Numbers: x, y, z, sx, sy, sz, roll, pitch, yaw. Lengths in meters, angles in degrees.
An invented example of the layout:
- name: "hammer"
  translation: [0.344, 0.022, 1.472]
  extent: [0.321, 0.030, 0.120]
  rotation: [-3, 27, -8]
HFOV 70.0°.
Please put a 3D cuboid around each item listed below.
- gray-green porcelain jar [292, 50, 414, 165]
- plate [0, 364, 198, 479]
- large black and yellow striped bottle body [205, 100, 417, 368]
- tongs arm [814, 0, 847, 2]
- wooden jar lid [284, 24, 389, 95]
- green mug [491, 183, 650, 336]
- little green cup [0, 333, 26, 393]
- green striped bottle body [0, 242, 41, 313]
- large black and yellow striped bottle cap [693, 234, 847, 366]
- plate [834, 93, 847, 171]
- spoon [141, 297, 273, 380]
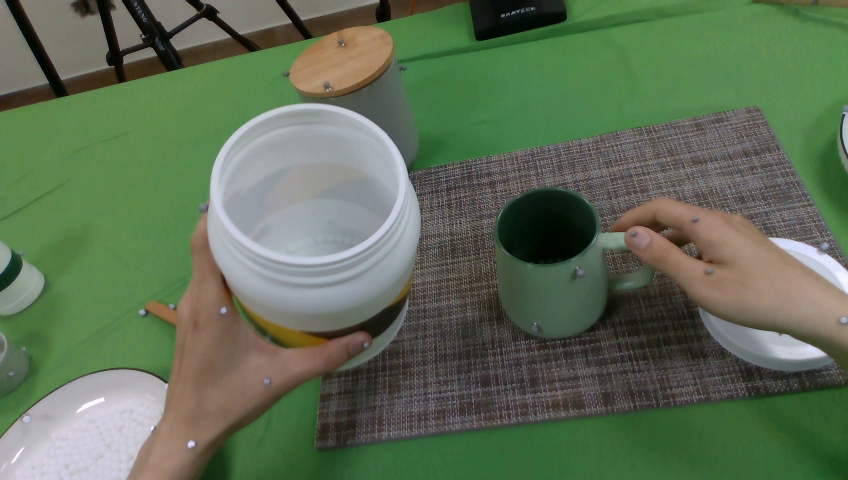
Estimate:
- name: "gray-green porcelain jar"
  translation: [-0.070, -0.134, 0.645]
  extent: [0.106, 0.128, 0.105]
  rotation: [-8, 47, 9]
- name: "plate"
  translation: [-0.281, 0.205, 0.502]
  extent: [0.209, 0.038, 0.207]
  rotation: [-7, 51, 10]
- name: "large black and yellow striped bottle body"
  translation: [-0.074, 0.004, 0.419]
  extent: [0.131, 0.185, 0.129]
  rotation: [3, 63, -5]
- name: "tongs arm"
  translation: [0.521, -0.246, 0.597]
  extent: [0.384, 0.028, 0.028]
  rotation: [22, 55, 39]
- name: "wooden jar lid"
  translation: [-0.085, -0.175, 0.599]
  extent: [0.108, 0.021, 0.107]
  rotation: [-10, 50, 12]
- name: "green mug"
  translation: [0.116, 0.017, 0.488]
  extent: [0.125, 0.106, 0.091]
  rotation: [-2, 52, 14]
- name: "little green cup"
  translation: [-0.436, 0.125, 0.606]
  extent: [0.061, 0.039, 0.061]
  rotation: [-8, 51, 10]
- name: "green striped bottle body"
  translation: [-0.477, 0.023, 0.643]
  extent: [0.063, 0.120, 0.062]
  rotation: [-8, 51, 10]
- name: "large black and yellow striped bottle cap"
  translation: [0.276, 0.044, 0.480]
  extent: [0.115, 0.019, 0.114]
  rotation: [-9, 51, 11]
- name: "plate"
  translation: [0.465, -0.079, 0.513]
  extent: [0.207, 0.039, 0.205]
  rotation: [-8, 52, 10]
- name: "spoon"
  translation: [-0.214, 0.086, 0.584]
  extent: [0.192, 0.022, 0.041]
  rotation: [19, 75, 27]
